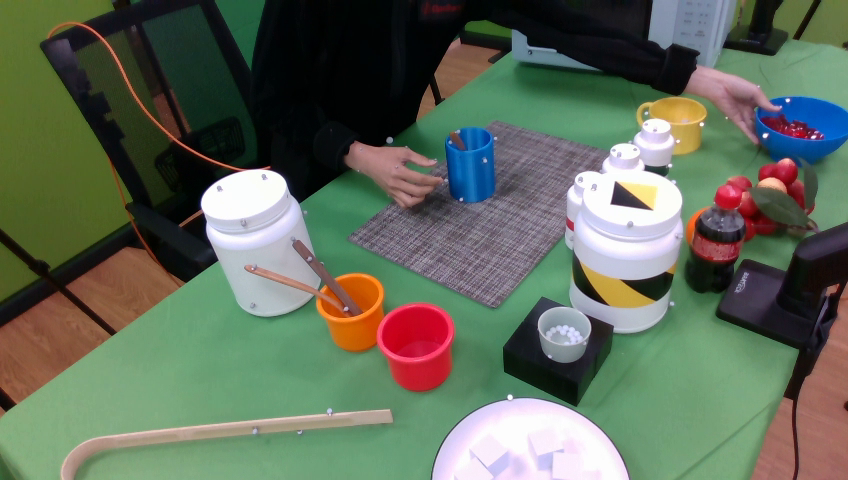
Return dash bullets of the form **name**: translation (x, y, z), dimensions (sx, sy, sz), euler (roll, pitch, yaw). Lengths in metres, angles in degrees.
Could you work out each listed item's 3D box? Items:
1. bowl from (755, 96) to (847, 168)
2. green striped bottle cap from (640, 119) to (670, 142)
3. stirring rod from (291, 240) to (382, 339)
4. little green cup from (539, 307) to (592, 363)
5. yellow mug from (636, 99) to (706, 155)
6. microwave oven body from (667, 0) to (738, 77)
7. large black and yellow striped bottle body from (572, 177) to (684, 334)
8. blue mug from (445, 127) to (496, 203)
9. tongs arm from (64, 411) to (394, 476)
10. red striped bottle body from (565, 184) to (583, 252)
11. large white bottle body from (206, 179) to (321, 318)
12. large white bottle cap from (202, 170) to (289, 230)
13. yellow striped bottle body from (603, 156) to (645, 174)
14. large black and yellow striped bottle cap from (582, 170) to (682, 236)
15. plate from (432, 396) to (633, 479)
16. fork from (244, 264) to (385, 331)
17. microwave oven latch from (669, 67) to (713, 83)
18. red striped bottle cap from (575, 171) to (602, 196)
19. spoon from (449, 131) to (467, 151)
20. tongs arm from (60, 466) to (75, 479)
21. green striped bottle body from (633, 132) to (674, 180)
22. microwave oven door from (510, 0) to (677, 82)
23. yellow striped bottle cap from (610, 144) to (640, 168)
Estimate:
- **bowl**: translation (0.645, -0.177, 1.041), dimensions (0.151, 0.077, 0.150), euler (-5, 40, 4)
- **green striped bottle cap**: translation (0.370, -0.174, 0.968), dimensions (0.044, 0.020, 0.044), euler (-3, 41, 3)
- **stirring rod**: translation (-0.119, 0.068, 0.826), dimensions (0.176, 0.006, 0.014), euler (49, 59, -4)
- **little green cup**: translation (0.169, 0.115, 0.721), dimensions (0.061, 0.039, 0.061), euler (-4, 42, 4)
- **yellow mug**: translation (0.452, -0.217, 1.128), dimensions (0.100, 0.064, 0.129), euler (-33, 46, -28)
- **microwave oven body**: translation (0.462, -0.552, 1.369), dimensions (0.439, 0.261, 0.326), euler (15, 45, 26)
- **large black and yellow striped bottle body**: translation (0.262, 0.017, 0.788), dimensions (0.131, 0.185, 0.130), euler (-5, 40, 4)
- **blue mug**: translation (0.082, -0.140, 1.059), dimensions (0.082, 0.106, 0.116), euler (-3, 40, 5)
- **tongs arm**: translation (-0.228, 0.240, 0.715), dimensions (0.385, 0.026, 0.050), euler (-5, 43, 5)
- **red striped bottle body**: translation (0.247, -0.041, 0.910), dimensions (0.063, 0.120, 0.062), euler (-3, 39, 3)
- **large white bottle body**: translation (-0.233, 0.007, 0.876), dimensions (0.130, 0.185, 0.130), euler (-5, 40, 4)
- **large white bottle cap**: translation (-0.242, -0.057, 0.822), dimensions (0.115, 0.018, 0.114), euler (-4, 40, 4)
- **yellow striped bottle body**: translation (0.313, -0.089, 0.955), dimensions (0.063, 0.121, 0.062), euler (-4, 40, 4)
- **large black and yellow striped bottle cap**: translation (0.252, -0.048, 0.735), dimensions (0.115, 0.019, 0.114), euler (-3, 40, 3)
- **plate**: translation (0.112, 0.261, 0.634), dimensions (0.209, 0.038, 0.208), euler (-5, 40, 4)
- **fork**: translation (-0.142, 0.078, 0.806), dimensions (0.209, 0.018, 0.028), euler (30, 34, -24)
- **microwave oven latch**: translation (0.556, -0.348, 1.261), dimensions (0.078, 0.029, 0.030), euler (16, 46, 27)
- **red striped bottle cap**: translation (0.242, -0.081, 0.876), dimensions (0.044, 0.018, 0.044), euler (-5, 43, 5)
- **spoon**: translation (0.066, -0.145, 1.000), dimensions (0.041, 0.195, 0.021), euler (0, 76, 16)
- **tongs arm**: translation (-0.239, 0.300, 0.649), dimensions (0.386, 0.028, 0.028), euler (6, 49, 17)
- **green striped bottle body**: translation (0.376, -0.135, 1.001), dimensions (0.063, 0.120, 0.063), euler (-5, 40, 5)
- **microwave oven door**: translation (0.352, -0.477, 1.289), dimensions (0.353, 0.245, 0.039), euler (15, 44, 25)
- **yellow striped bottle cap**: translation (0.307, -0.128, 0.923), dimensions (0.044, 0.019, 0.044), euler (-5, 39, 5)
